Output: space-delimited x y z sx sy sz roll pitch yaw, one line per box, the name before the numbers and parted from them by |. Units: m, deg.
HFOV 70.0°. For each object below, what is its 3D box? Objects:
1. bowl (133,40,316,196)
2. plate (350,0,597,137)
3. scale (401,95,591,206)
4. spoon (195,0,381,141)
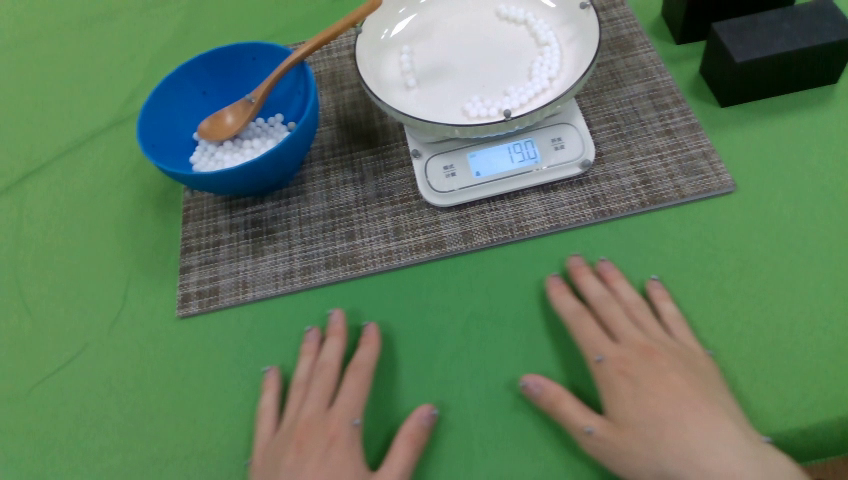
bowl | -0.157 -0.091 0.522 0.151 0.077 0.150 -5 57 7
plate | 0.041 -0.163 0.522 0.209 0.038 0.207 -4 57 6
scale | 0.050 -0.127 0.537 0.149 0.032 0.199 -14 57 1
spoon | -0.116 -0.143 0.507 0.194 0.022 0.041 -35 48 13
